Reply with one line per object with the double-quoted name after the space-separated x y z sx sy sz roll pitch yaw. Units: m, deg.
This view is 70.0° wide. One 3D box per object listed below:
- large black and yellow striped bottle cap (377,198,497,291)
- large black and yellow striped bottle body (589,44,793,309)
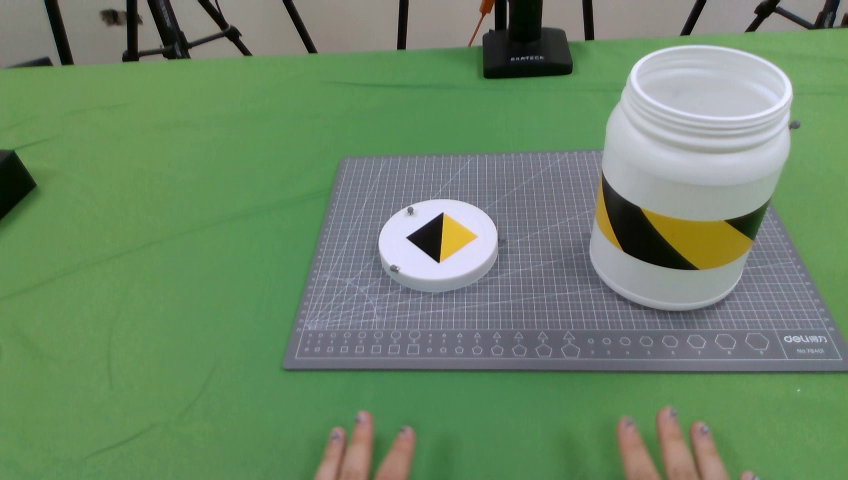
0.012 0.001 0.582 0.115 0.019 0.114 -2 44 2 "large black and yellow striped bottle cap"
0.208 -0.048 0.489 0.131 0.186 0.129 -3 43 3 "large black and yellow striped bottle body"
